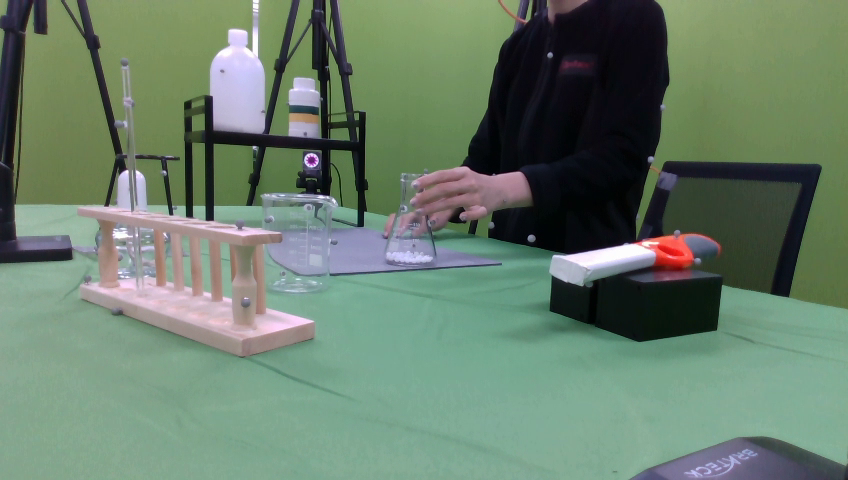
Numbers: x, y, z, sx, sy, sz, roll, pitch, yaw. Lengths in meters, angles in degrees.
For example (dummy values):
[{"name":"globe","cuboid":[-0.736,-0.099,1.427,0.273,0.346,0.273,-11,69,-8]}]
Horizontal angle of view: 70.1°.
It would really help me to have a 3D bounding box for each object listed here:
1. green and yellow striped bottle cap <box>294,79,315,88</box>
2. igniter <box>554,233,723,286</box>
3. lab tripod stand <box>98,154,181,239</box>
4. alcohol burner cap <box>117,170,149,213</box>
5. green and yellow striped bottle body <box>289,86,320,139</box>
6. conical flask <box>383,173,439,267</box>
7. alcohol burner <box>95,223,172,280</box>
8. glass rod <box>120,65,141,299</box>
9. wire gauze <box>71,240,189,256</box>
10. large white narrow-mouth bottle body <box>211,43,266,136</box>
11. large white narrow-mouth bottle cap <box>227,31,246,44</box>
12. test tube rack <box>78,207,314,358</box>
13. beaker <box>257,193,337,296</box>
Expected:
[{"name":"green and yellow striped bottle cap","cuboid":[-0.248,-0.323,1.256,0.045,0.020,0.045,4,8,0]},{"name":"igniter","cuboid":[0.214,0.015,0.570,0.278,0.025,0.057,-5,22,-44]},{"name":"lab tripod stand","cuboid":[-0.427,-0.066,0.942,0.148,0.131,0.148,1,6,0]},{"name":"alcohol burner cap","cuboid":[-0.320,-0.052,0.661,0.034,0.048,0.034,-3,-1,0]},{"name":"green and yellow striped bottle body","cuboid":[-0.250,-0.272,1.261,0.063,0.119,0.063,3,7,0]},{"name":"conical flask","cuboid":[-0.015,-0.028,0.808,0.075,0.122,0.075,2,7,0]},{"name":"alcohol burner","cuboid":[-0.320,-0.017,0.667,0.078,0.119,0.078,0,7,0]},{"name":"glass rod","cuboid":[-0.249,-0.047,0.513,0.008,0.199,0.008,-1,4,0]},{"name":"wire gauze","cuboid":[-0.399,0.013,0.820,0.126,0.011,0.121,-3,8,-37]},{"name":"large white narrow-mouth bottle body","cuboid":[-0.361,-0.302,1.176,0.102,0.194,0.102,1,7,0]},{"name":"large white narrow-mouth bottle cap","cuboid":[-0.361,-0.388,1.166,0.038,0.024,0.037,1,7,0]},{"name":"test tube rack","cuboid":[-0.196,0.024,0.499,0.241,0.085,0.067,8,8,37]},{"name":"beaker","cuboid":[-0.130,0.003,0.628,0.084,0.100,0.074,5,8,15]}]
